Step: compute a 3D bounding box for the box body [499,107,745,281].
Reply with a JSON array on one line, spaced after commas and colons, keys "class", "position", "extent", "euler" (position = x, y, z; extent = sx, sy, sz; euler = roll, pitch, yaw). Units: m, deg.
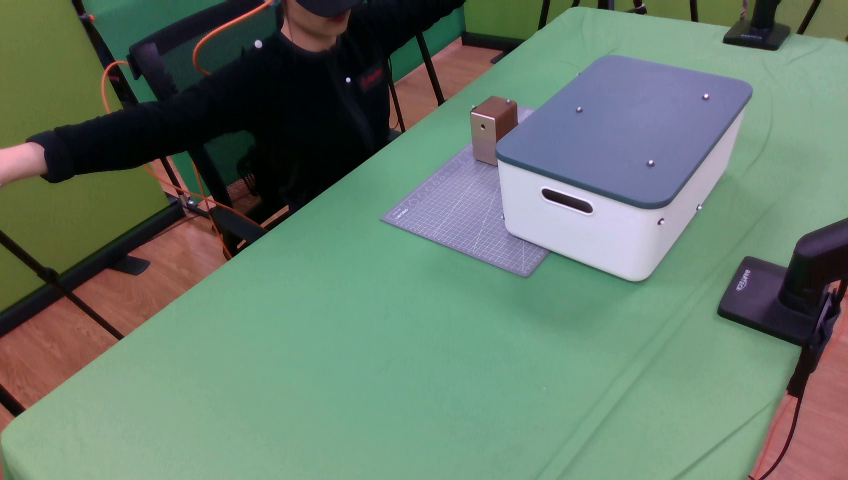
[{"class": "box body", "position": [0.315, -0.124, 0.958], "extent": [0.252, 0.161, 0.365], "euler": [24, 50, 32]}]

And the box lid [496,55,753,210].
[{"class": "box lid", "position": [0.308, -0.181, 0.911], "extent": [0.261, 0.015, 0.372], "euler": [24, 50, 31]}]

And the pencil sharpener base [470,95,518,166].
[{"class": "pencil sharpener base", "position": [0.134, -0.205, 1.128], "extent": [0.061, 0.107, 0.077], "euler": [23, 50, 33]}]

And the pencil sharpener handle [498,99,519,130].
[{"class": "pencil sharpener handle", "position": [0.165, -0.243, 1.148], "extent": [0.035, 0.068, 0.031], "euler": [21, 49, 35]}]
